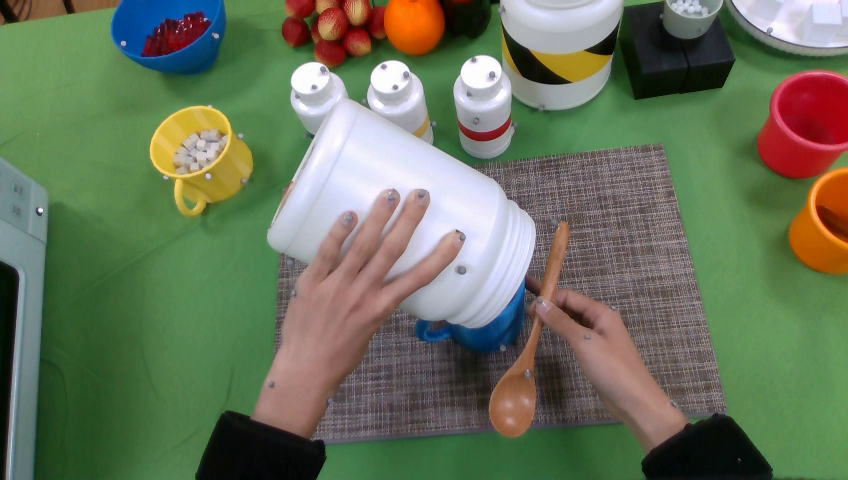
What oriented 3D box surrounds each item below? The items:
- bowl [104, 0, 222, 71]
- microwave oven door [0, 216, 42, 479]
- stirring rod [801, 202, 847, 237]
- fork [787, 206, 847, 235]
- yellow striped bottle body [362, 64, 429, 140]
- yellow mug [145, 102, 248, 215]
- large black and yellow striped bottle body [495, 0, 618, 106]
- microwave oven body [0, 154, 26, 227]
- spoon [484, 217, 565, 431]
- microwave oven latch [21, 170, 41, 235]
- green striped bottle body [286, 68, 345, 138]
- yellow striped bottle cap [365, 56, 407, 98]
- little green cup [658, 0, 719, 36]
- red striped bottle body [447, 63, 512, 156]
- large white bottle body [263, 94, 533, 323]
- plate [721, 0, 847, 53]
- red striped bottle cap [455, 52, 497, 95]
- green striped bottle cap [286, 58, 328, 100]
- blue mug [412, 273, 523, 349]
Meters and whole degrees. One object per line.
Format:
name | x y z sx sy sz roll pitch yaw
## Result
bowl | -0.332 -0.281 0.810 0.151 0.077 0.150 -3 66 6
microwave oven door | -0.451 0.111 0.547 0.039 0.246 0.352 -15 65 2
stirring rod | 0.399 -0.003 0.557 0.014 0.006 0.175 -3 23 4
fork | 0.429 -0.005 0.546 0.028 0.019 0.205 -43 24 -10
yellow striped bottle body | -0.032 -0.152 0.690 0.063 0.121 0.062 -3 65 7
yellow mug | -0.275 -0.093 0.727 0.100 0.064 0.130 3 68 9
large black and yellow striped bottle body | 0.145 -0.253 0.674 0.130 0.185 0.130 -3 66 7
microwave oven body | -0.601 0.112 0.573 0.326 0.262 0.438 -14 66 1
spoon | 0.095 0.073 0.532 0.041 0.021 0.194 17 94 2
microwave oven latch | -0.483 -0.042 0.729 0.030 0.030 0.078 -13 66 2
green striped bottle body | -0.118 -0.153 0.702 0.063 0.120 0.062 -3 66 6
yellow striped bottle cap | -0.040 -0.173 0.642 0.044 0.019 0.044 -1 64 2
little green cup | 0.295 -0.263 0.682 0.061 0.039 0.061 -2 64 5
red striped bottle body | 0.063 -0.151 0.677 0.063 0.121 0.062 -6 63 11
large white bottle body | -0.018 -0.017 0.485 0.186 0.130 0.130 27 69 -16
plate | 0.462 -0.307 0.734 0.209 0.038 0.207 -3 67 7
red striped bottle cap | 0.054 -0.174 0.629 0.044 0.018 0.044 -1 65 3
green striped bottle cap | -0.127 -0.174 0.655 0.044 0.020 0.044 -2 65 5
blue mug | 0.040 0.062 0.590 0.116 0.107 0.081 -31 65 -7
